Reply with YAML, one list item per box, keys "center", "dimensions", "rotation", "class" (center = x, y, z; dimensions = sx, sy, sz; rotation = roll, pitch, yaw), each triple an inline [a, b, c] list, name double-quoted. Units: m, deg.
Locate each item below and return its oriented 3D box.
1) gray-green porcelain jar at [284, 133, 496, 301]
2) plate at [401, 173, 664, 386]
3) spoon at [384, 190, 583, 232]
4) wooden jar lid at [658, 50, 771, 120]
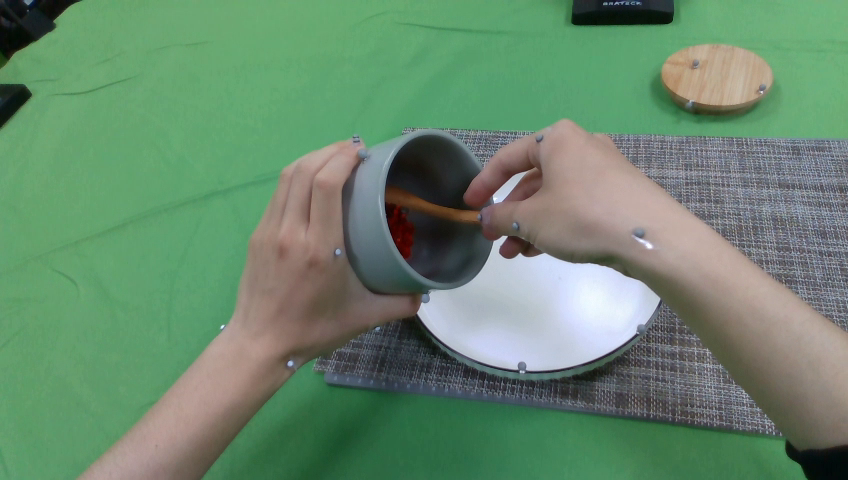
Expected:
- center: [-0.030, -0.010, 0.432]
  dimensions: [0.126, 0.107, 0.105]
  rotation: [-9, 40, 46]
  class: "gray-green porcelain jar"
- center: [0.085, 0.030, 0.497]
  dimensions: [0.207, 0.039, 0.205]
  rotation: [-5, 49, 6]
  class: "plate"
- center: [0.017, -0.017, 0.410]
  dimensions: [0.192, 0.022, 0.042]
  rotation: [11, 15, 36]
  class: "spoon"
- center: [0.303, -0.162, 0.637]
  dimensions: [0.108, 0.021, 0.107]
  rotation: [-5, 50, 6]
  class: "wooden jar lid"
